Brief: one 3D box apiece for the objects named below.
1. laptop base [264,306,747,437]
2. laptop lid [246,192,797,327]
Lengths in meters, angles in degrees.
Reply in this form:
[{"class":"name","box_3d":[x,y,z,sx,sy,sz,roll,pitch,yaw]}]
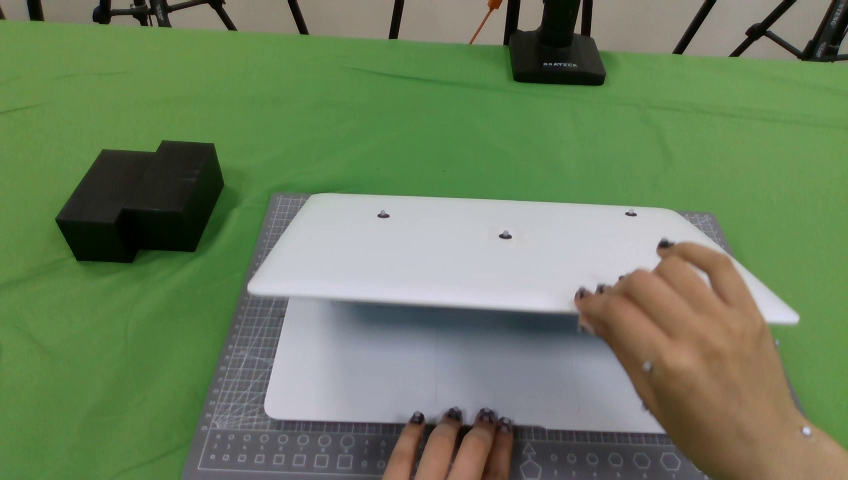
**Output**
[{"class":"laptop base","box_3d":[0.062,0.056,0.516,0.354,0.023,0.233,2,48,-1]},{"class":"laptop lid","box_3d":[0.064,0.004,0.481,0.357,0.013,0.240,3,21,0]}]
